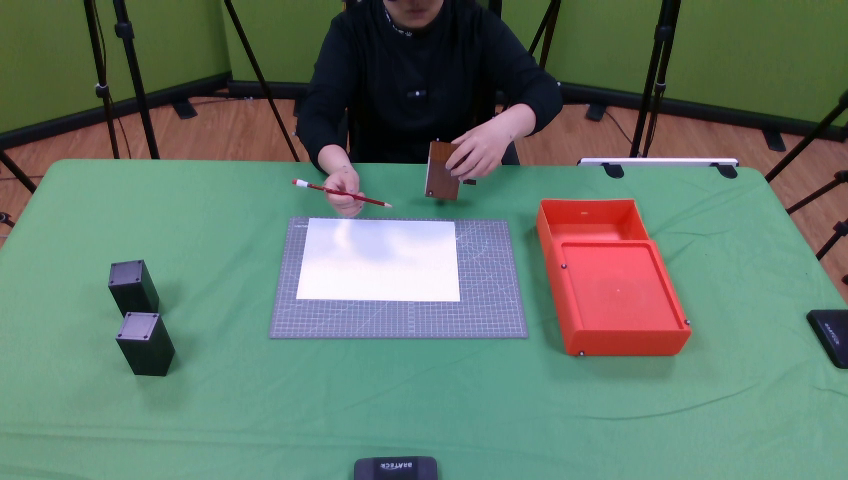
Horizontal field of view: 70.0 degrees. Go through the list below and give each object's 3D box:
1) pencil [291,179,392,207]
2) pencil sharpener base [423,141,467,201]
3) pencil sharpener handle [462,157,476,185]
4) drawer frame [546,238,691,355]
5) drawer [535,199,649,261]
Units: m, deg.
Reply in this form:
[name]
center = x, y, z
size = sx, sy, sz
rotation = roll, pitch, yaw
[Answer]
[pencil]
center = -0.153, -0.085, 1.121
size = 0.194, 0.012, 0.012
rotation = 14, 46, -1
[pencil sharpener base]
center = 0.042, -0.138, 1.229
size = 0.077, 0.107, 0.061
rotation = 7, 45, -1
[pencil sharpener handle]
center = 0.094, -0.141, 1.221
size = 0.030, 0.068, 0.036
rotation = 7, 44, 0
[drawer frame]
center = 0.338, 0.097, 1.086
size = 0.202, 0.083, 0.212
rotation = 0, 46, -4
[drawer]
center = 0.332, 0.015, 1.169
size = 0.195, 0.073, 0.210
rotation = 0, 46, -5
